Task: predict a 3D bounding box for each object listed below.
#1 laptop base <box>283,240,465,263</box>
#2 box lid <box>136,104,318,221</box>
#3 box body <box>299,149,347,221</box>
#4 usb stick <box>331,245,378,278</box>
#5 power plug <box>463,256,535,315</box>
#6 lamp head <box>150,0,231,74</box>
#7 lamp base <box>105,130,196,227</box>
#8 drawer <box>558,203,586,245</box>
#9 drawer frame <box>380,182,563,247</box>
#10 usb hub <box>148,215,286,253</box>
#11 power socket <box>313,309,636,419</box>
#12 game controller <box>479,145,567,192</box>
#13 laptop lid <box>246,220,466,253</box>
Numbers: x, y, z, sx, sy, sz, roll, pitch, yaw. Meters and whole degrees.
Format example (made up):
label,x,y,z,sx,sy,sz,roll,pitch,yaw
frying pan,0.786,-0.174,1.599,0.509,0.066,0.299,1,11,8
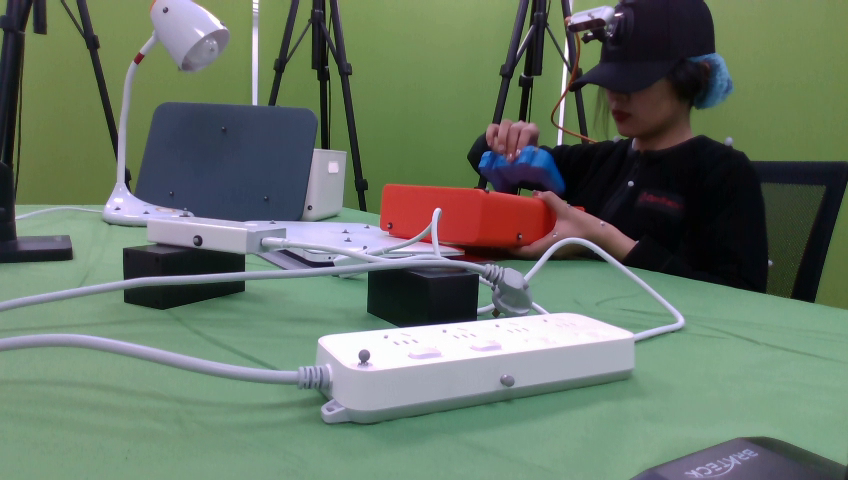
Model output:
label,x,y,z,sx,sy,sz,roll,pitch,yaw
laptop base,-0.125,0.003,0.946,0.237,0.023,0.352,1,6,-31
box lid,-0.411,-0.162,1.266,0.371,0.263,0.015,3,-15,9
box body,-0.384,-0.137,1.407,0.364,0.160,0.254,3,8,7
usb stick,-0.085,0.026,0.701,0.059,0.027,0.021,-18,19,27
power plug,0.064,0.039,0.530,0.072,0.052,0.035,31,43,7
lamp head,-0.432,-0.374,1.086,0.123,0.112,0.112,42,8,-3
lamp base,-0.532,-0.120,1.153,0.179,0.180,0.161,1,7,8
drawer,0.133,-0.036,1.018,0.193,0.073,0.213,7,3,44
drawer frame,0.077,-0.040,0.956,0.200,0.082,0.215,8,4,42
usb hub,-0.197,-0.006,0.575,0.125,0.025,0.050,6,6,22
power socket,0.039,0.072,0.384,0.228,0.032,0.072,-2,7,-28
game controller,0.167,-0.123,1.036,0.097,0.051,0.154,35,-20,-33
laptop lid,-0.123,-0.009,0.945,0.243,0.013,0.355,1,7,-29
